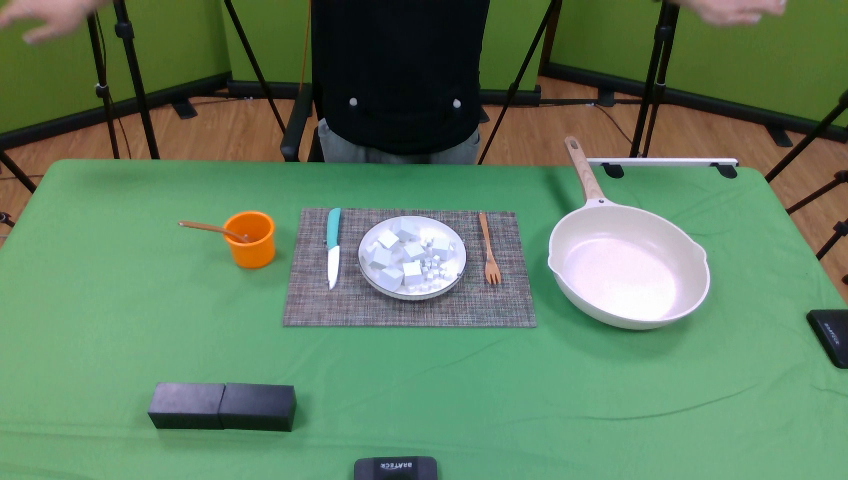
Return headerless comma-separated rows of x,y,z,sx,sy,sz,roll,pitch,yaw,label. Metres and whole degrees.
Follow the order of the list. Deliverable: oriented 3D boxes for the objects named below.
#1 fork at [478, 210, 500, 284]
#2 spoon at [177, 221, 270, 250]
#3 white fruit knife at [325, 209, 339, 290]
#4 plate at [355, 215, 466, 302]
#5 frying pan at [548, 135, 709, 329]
0.124,0.010,1.194,0.028,0.019,0.206,-8,48,3,fork
-0.358,-0.012,1.093,0.021,0.195,0.041,-52,54,10,spoon
-0.179,0.014,1.170,0.027,0.016,0.206,-4,47,-2,white fruit knife
-0.025,0.038,1.144,0.208,0.039,0.206,2,46,-2,plate
0.360,-0.033,1.200,0.307,0.103,0.484,-4,55,-9,frying pan
